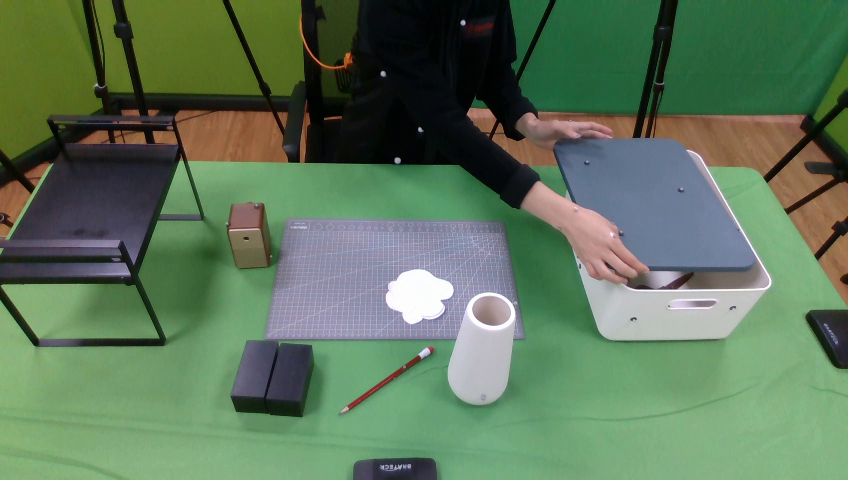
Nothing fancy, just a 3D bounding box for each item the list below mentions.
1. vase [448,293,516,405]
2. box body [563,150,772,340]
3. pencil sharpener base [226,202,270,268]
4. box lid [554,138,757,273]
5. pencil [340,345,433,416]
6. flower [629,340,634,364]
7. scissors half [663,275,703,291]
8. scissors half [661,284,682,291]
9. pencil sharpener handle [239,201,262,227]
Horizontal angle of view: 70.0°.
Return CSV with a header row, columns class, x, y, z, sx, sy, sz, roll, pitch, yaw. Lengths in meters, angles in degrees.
class,x,y,z,sx,sy,sz,roll,pitch,yaw
vase,0.091,0.169,0.921,0.098,0.201,0.097,3,47,-3
box body,0.421,0.003,1.130,0.254,0.161,0.361,0,46,-5
pencil sharpener base,-0.323,-0.010,1.123,0.061,0.107,0.076,-3,46,-7
box lid,0.392,-0.074,1.076,0.263,0.015,0.369,0,42,-5
pencil,-0.058,0.227,0.984,0.194,0.012,0.012,-32,56,-29
flower,0.421,0.068,1.187,0.038,0.044,0.360,20,66,-14
scissors half,0.460,0.092,1.132,0.175,0.040,0.013,-18,86,-25
scissors half,0.453,0.095,1.144,0.175,0.040,0.013,-16,92,-32
pencil sharpener handle,-0.325,-0.055,1.150,0.036,0.068,0.030,-13,46,4
